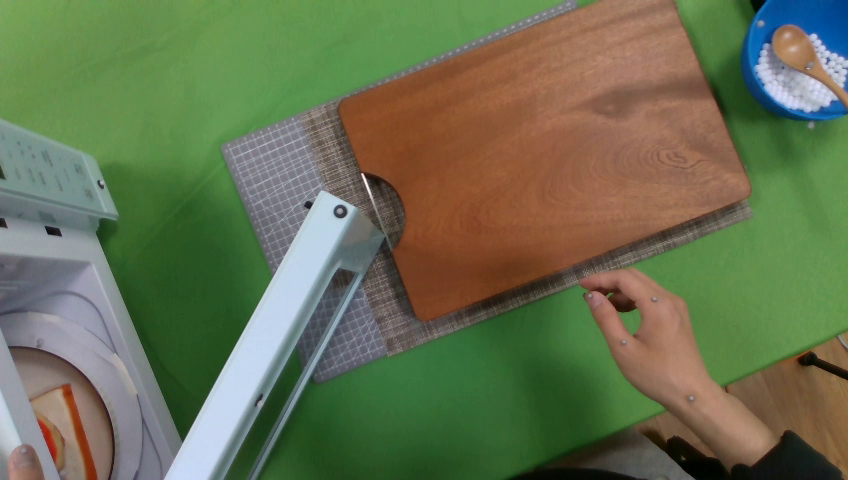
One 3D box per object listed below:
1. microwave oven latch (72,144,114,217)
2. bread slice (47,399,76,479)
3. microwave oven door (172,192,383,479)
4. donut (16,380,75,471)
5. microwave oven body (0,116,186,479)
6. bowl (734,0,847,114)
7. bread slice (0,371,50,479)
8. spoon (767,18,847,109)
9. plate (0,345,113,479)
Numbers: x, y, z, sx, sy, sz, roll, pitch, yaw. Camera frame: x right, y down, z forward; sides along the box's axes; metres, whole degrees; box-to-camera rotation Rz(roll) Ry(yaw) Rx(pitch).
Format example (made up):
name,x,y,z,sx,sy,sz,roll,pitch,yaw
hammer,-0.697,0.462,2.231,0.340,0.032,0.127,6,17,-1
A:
name,x,y,z,sx,sy,sz,roll,pitch,yaw
microwave oven latch,-0.378,-0.066,0.676,0.030,0.029,0.079,-25,87,-1
bread slice,-0.423,0.214,0.614,0.131,0.019,0.104,0,87,1
microwave oven door,-0.144,0.130,0.561,0.039,0.244,0.355,27,87,3
donut,-0.395,0.187,0.594,0.099,0.048,0.098,0,82,1
microwave oven body,-0.442,0.149,0.568,0.326,0.260,0.441,-25,87,-1
bowl,0.409,-0.204,0.670,0.151,0.077,0.151,0,87,1
bread slice,-0.413,0.192,0.554,0.134,0.018,0.107,-24,88,10
spoon,0.428,-0.163,0.638,0.041,0.022,0.192,-24,64,-3
plate,-0.418,0.210,0.613,0.208,0.039,0.207,0,85,-3
